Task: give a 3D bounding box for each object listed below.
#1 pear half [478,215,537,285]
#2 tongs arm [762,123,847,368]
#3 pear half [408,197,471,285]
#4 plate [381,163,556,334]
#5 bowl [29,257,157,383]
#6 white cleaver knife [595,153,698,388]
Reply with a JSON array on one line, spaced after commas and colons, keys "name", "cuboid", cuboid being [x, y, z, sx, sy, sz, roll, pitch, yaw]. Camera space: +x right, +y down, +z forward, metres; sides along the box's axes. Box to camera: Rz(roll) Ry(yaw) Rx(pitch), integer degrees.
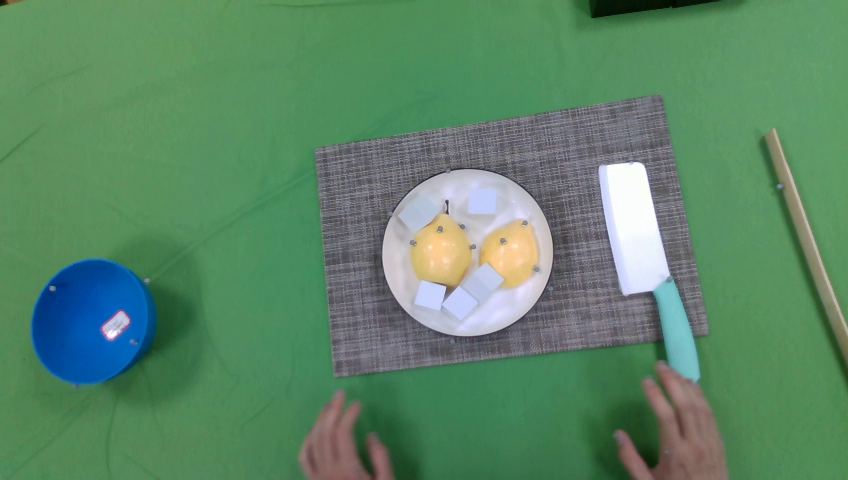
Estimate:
[{"name": "pear half", "cuboid": [0.102, 0.010, 0.725, 0.070, 0.031, 0.088, 24, 90, 6]}, {"name": "tongs arm", "cuboid": [0.463, 0.044, 0.691, 0.028, 0.028, 0.385, -15, 79, 1]}, {"name": "pear half", "cuboid": [0.019, -0.004, 0.728, 0.076, 0.056, 0.109, 3, 76, 3]}, {"name": "plate", "cuboid": [0.053, 0.010, 0.736, 0.207, 0.039, 0.207, -1, 80, 7]}, {"name": "bowl", "cuboid": [-0.393, 0.100, 0.753, 0.151, 0.077, 0.151, -1, 80, 6]}, {"name": "white cleaver knife", "cuboid": [0.261, 0.032, 0.722, 0.066, 0.022, 0.284, -13, 75, 12]}]
